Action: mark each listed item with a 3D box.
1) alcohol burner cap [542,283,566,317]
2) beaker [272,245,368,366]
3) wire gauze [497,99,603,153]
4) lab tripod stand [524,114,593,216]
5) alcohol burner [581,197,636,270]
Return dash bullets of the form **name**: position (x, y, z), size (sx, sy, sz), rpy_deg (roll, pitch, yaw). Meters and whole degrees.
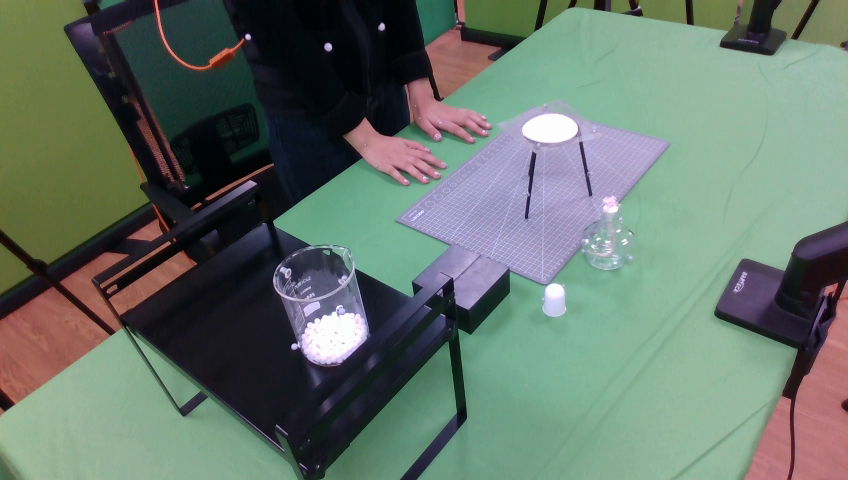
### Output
- **alcohol burner cap**: position (0.181, 0.080, 0.840), size (0.034, 0.048, 0.033), rpy_deg (-3, 40, 3)
- **beaker**: position (-0.093, 0.064, 0.578), size (0.073, 0.101, 0.084), rpy_deg (21, 48, 29)
- **wire gauze**: position (0.199, -0.180, 0.962), size (0.125, 0.011, 0.120), rpy_deg (-20, 43, -13)
- **lab tripod stand**: position (0.210, -0.127, 1.001), size (0.148, 0.132, 0.147), rpy_deg (-4, 42, 4)
- **alcohol burner**: position (0.270, -0.015, 0.882), size (0.078, 0.119, 0.077), rpy_deg (-5, 42, 5)
